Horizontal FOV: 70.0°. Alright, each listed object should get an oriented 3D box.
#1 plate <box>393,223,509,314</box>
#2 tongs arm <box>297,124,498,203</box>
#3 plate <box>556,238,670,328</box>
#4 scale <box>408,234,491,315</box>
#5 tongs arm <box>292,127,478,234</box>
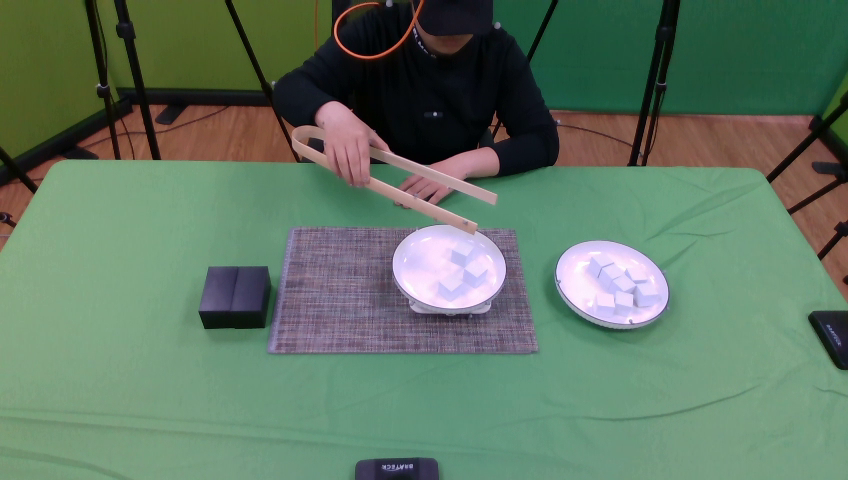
[{"bbox_3d":[0.048,0.053,1.091,0.208,0.039,0.206,1,46,-1],"label":"plate"},{"bbox_3d":[-0.052,-0.139,1.087,0.387,0.028,0.028,21,51,10],"label":"tongs arm"},{"bbox_3d":[0.347,0.083,1.130,0.209,0.038,0.208,2,47,-2],"label":"plate"},{"bbox_3d":[0.045,0.055,1.135,0.149,0.032,0.199,1,46,-3],"label":"scale"},{"bbox_3d":[-0.075,-0.107,1.052,0.384,0.026,0.050,24,48,13],"label":"tongs arm"}]
